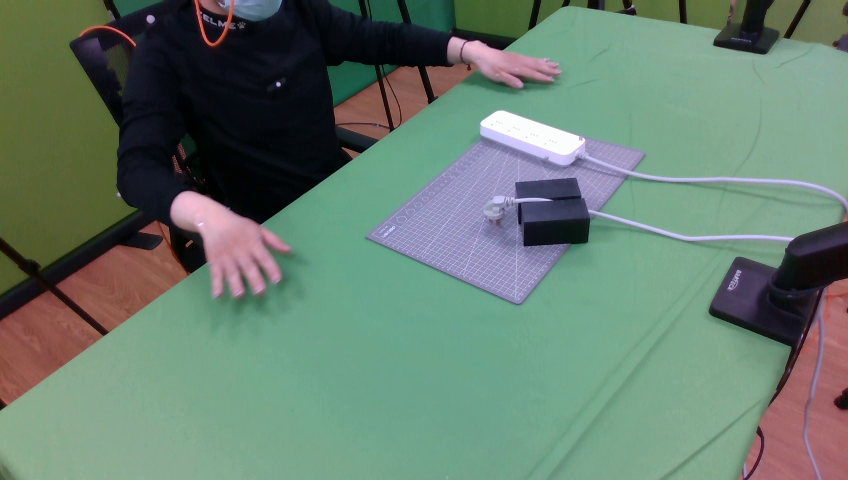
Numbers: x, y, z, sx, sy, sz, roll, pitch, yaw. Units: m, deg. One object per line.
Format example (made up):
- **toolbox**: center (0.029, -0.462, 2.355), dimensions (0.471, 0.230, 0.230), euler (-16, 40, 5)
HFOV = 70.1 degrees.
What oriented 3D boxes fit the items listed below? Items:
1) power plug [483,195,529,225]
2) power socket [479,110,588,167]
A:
- **power plug**: center (0.129, -0.044, 0.969), dimensions (0.072, 0.053, 0.035), euler (14, 49, 26)
- **power socket**: center (0.203, -0.198, 1.157), dimensions (0.225, 0.033, 0.072), euler (29, 53, 34)
